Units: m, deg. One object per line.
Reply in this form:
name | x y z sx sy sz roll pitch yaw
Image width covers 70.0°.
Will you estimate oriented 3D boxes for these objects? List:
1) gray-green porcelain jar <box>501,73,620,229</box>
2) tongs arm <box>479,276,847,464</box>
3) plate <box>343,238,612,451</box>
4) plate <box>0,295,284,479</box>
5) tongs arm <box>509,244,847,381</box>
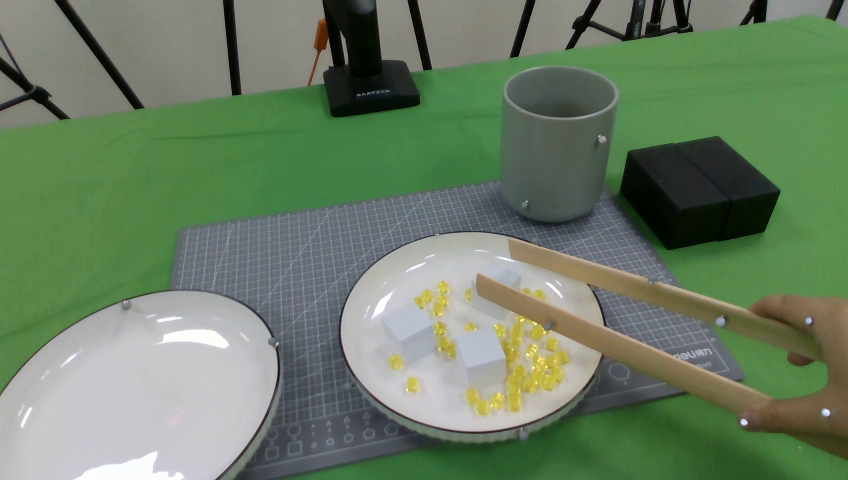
gray-green porcelain jar | 0.129 -0.083 0.595 0.106 0.127 0.105 -2 41 2
tongs arm | 0.198 0.093 0.373 0.384 0.028 0.028 20 44 32
plate | 0.041 0.078 0.484 0.207 0.039 0.205 -2 41 2
plate | -0.204 0.127 0.443 0.209 0.038 0.207 -3 41 3
tongs arm | 0.216 0.076 0.389 0.382 0.027 0.050 18 47 30
